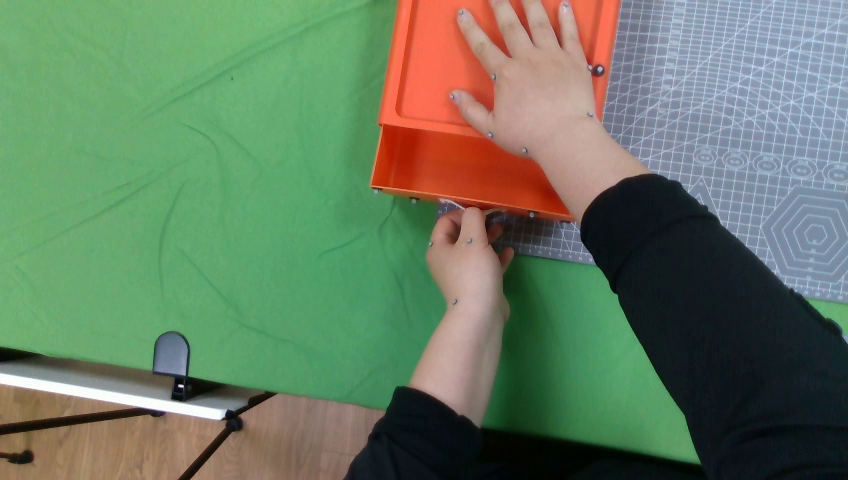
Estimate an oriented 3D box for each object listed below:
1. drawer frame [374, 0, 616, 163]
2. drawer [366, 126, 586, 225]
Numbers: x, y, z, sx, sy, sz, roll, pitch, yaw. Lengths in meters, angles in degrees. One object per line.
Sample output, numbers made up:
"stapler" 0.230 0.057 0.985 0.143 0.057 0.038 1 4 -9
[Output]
"drawer frame" 0.070 -0.189 0.573 0.201 0.083 0.213 8 91 9
"drawer" 0.061 -0.129 0.572 0.194 0.073 0.211 9 90 10
